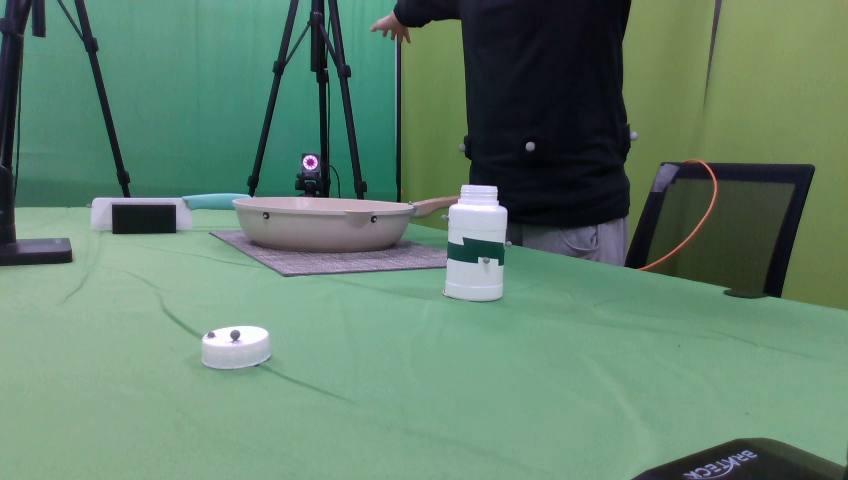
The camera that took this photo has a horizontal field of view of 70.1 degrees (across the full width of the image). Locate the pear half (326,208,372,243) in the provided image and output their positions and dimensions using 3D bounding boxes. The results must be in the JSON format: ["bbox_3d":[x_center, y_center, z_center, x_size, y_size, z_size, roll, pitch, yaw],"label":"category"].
[{"bbox_3d":[-0.128,-0.026,1.017,0.076,0.056,0.109,5,4,-19],"label":"pear half"}]

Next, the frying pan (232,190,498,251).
[{"bbox_3d":[-0.073,-0.051,1.048,0.490,0.102,0.305,-11,13,-27],"label":"frying pan"}]

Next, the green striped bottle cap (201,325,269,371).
[{"bbox_3d":[-0.129,0.073,0.415,0.044,0.020,0.044,3,8,0],"label":"green striped bottle cap"}]

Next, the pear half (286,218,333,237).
[{"bbox_3d":[-0.197,-0.022,1.054,0.088,0.031,0.070,-10,18,-44],"label":"pear half"}]

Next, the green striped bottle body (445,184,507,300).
[{"bbox_3d":[0.055,0.000,0.644,0.063,0.119,0.063,2,7,0],"label":"green striped bottle body"}]

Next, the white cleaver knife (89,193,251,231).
[{"bbox_3d":[-0.454,-0.052,1.114,0.288,0.066,0.021,-4,14,-27],"label":"white cleaver knife"}]
